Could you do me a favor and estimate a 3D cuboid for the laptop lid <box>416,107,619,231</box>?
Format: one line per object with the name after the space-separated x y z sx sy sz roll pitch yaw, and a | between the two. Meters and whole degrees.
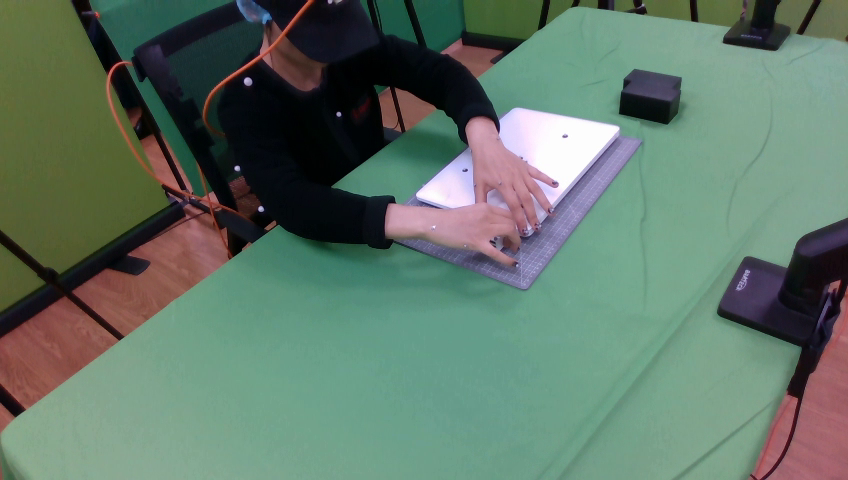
0.176 -0.146 1.105 0.239 0.013 0.357 21 49 34 | laptop lid

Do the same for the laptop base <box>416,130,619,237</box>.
0.179 -0.137 1.111 0.233 0.023 0.355 19 47 34 | laptop base

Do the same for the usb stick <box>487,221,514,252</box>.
0.125 -0.010 0.953 0.021 0.027 0.059 20 48 34 | usb stick
